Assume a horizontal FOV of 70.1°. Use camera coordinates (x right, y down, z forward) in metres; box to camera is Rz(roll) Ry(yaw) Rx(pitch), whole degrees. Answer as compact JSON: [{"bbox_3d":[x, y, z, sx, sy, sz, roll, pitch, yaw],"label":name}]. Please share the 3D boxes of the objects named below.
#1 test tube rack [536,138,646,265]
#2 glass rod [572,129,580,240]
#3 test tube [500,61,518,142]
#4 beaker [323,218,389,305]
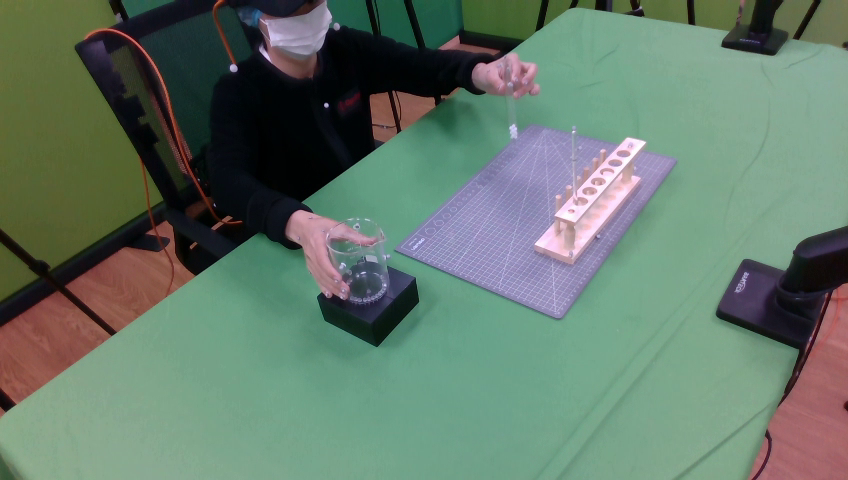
[{"bbox_3d":[0.268,-0.071,0.964,0.066,0.085,0.243,23,49,32],"label":"test tube rack"},{"bbox_3d":[0.220,-0.074,0.871,0.008,0.201,0.008,-8,42,8],"label":"glass rod"},{"bbox_3d":[0.144,-0.229,1.015,0.017,0.151,0.017,-8,42,8],"label":"test tube"},{"bbox_3d":[-0.085,0.031,0.813,0.084,0.101,0.073,0,41,8],"label":"beaker"}]
